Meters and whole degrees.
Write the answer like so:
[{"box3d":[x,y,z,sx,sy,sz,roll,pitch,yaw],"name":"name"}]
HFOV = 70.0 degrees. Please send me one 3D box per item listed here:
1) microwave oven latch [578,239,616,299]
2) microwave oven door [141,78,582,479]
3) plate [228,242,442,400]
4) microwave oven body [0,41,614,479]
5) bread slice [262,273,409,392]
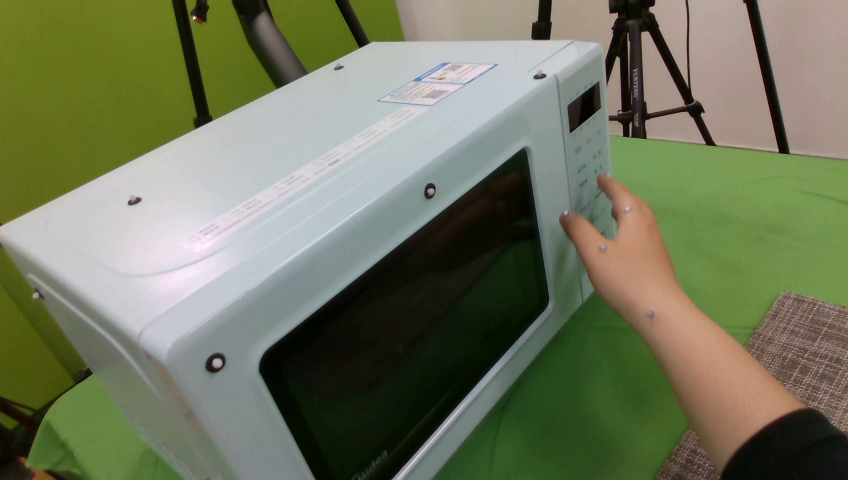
[{"box3d":[0.171,0.029,0.631,0.030,0.030,0.079,18,45,41],"name":"microwave oven latch"},{"box3d":[0.005,0.059,0.456,0.039,0.246,0.355,15,42,41],"name":"microwave oven door"},{"box3d":[-0.081,0.076,0.578,0.209,0.038,0.207,-12,31,8],"name":"plate"},{"box3d":[-0.073,0.013,0.577,0.323,0.262,0.441,16,44,40],"name":"microwave oven body"},{"box3d":[-0.082,0.078,0.584,0.131,0.019,0.104,-35,37,-24],"name":"bread slice"}]
